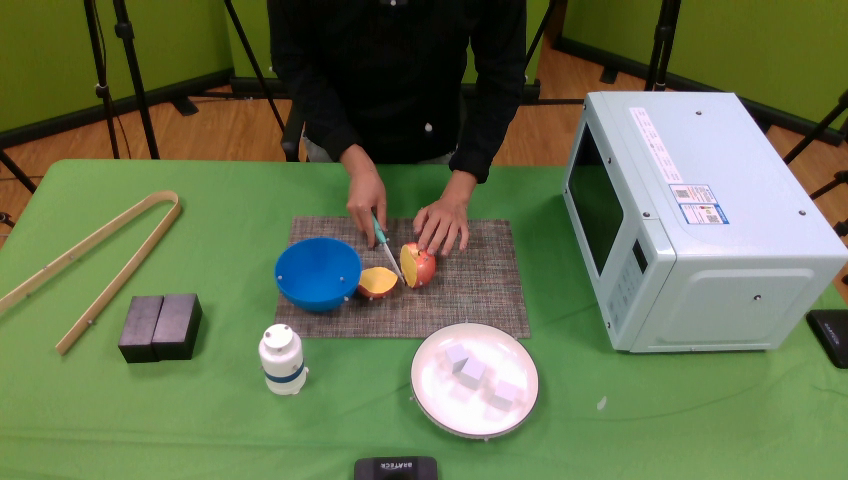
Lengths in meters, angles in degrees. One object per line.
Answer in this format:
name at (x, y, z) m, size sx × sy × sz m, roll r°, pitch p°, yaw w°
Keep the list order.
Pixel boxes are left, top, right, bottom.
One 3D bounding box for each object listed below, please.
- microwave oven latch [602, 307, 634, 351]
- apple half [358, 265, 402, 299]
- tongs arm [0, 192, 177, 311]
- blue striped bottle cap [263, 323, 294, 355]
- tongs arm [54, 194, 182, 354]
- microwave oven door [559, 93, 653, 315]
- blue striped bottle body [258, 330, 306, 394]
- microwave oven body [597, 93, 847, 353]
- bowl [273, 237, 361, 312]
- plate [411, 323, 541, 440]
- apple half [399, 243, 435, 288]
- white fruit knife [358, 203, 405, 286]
microwave oven latch at (0.332, 0.153, 1.044) m, size 0.030 × 0.029 × 0.078 m, roll -1°, pitch 45°, yaw -4°
apple half at (-0.079, 0.081, 1.096) m, size 0.081 × 0.033 × 0.081 m, roll 4°, pitch 39°, yaw -3°
tongs arm at (-0.618, 0.019, 1.124) m, size 0.050 × 0.026 × 0.384 m, roll 24°, pitch 47°, yaw 16°
blue striped bottle cap at (-0.217, 0.146, 0.900) m, size 0.044 × 0.021 × 0.044 m, roll 1°, pitch 46°, yaw -1°
tongs arm at (-0.543, 0.048, 1.107) m, size 0.028 × 0.028 × 0.385 m, roll 11°, pitch 46°, yaw 10°
microwave oven door at (0.327, -0.074, 1.123) m, size 0.039 × 0.245 × 0.353 m, roll -1°, pitch 46°, yaw -5°
blue striped bottle body at (-0.220, 0.182, 0.937) m, size 0.063 × 0.121 × 0.062 m, roll 2°, pitch 46°, yaw -2°
microwave oven body at (0.475, -0.041, 1.109) m, size 0.326 × 0.261 × 0.438 m, roll -1°, pitch 45°, yaw -4°
bowl at (-0.186, 0.075, 1.069) m, size 0.151 × 0.077 × 0.150 m, roll 3°, pitch 46°, yaw -3°
plate at (0.082, 0.228, 0.976) m, size 0.208 × 0.039 × 0.206 m, roll 2°, pitch 45°, yaw -2°
apple half at (-0.009, 0.047, 1.115) m, size 0.053 × 0.075 × 0.080 m, roll -9°, pitch 45°, yaw -24°
white fruit knife at (-0.081, 0.004, 1.168) m, size 0.016 × 0.027 × 0.206 m, roll -19°, pitch 62°, yaw -21°
